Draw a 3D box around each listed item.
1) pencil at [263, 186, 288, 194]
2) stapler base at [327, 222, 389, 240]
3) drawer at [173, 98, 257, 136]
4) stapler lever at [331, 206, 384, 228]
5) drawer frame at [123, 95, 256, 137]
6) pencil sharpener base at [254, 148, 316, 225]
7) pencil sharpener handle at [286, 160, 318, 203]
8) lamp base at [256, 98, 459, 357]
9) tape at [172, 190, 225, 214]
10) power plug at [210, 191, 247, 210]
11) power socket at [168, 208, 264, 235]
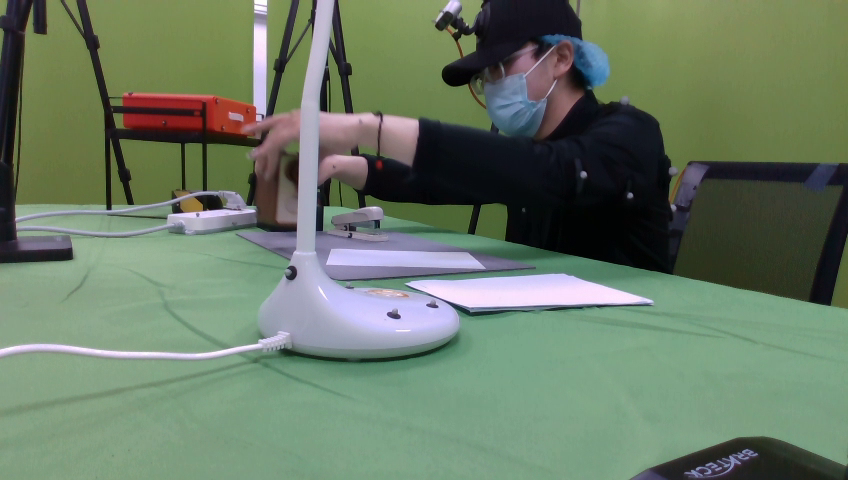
[{"bbox_3d":[-0.258,-0.088,1.053,0.012,0.012,0.193,-1,4,-25],"label":"pencil"},{"bbox_3d":[-0.117,-0.019,1.072,0.130,0.024,0.041,7,8,41],"label":"stapler base"},{"bbox_3d":[-0.518,-0.279,1.376,0.211,0.073,0.195,3,8,10],"label":"drawer"},{"bbox_3d":[-0.118,-0.044,1.070,0.117,0.040,0.027,7,8,41],"label":"stapler lever"},{"bbox_3d":[-0.524,-0.281,1.376,0.213,0.082,0.202,3,8,8],"label":"drawer frame"},{"bbox_3d":[-0.204,-0.078,0.886,0.062,0.107,0.076,1,8,-39],"label":"pencil sharpener base"},{"bbox_3d":[-0.166,-0.084,0.850,0.036,0.068,0.030,-25,24,-33],"label":"pencil sharpener handle"},{"bbox_3d":[-0.055,-0.013,0.463,0.160,0.180,0.180,6,11,27],"label":"lamp base"},{"bbox_3d":[-0.515,-0.087,1.388,0.117,0.052,0.117,3,7,0],"label":"tape"},{"bbox_3d":[-0.386,-0.071,1.204,0.072,0.052,0.035,7,8,26],"label":"power plug"},{"bbox_3d":[-0.381,-0.038,1.129,0.072,0.032,0.227,4,8,17],"label":"power socket"}]
